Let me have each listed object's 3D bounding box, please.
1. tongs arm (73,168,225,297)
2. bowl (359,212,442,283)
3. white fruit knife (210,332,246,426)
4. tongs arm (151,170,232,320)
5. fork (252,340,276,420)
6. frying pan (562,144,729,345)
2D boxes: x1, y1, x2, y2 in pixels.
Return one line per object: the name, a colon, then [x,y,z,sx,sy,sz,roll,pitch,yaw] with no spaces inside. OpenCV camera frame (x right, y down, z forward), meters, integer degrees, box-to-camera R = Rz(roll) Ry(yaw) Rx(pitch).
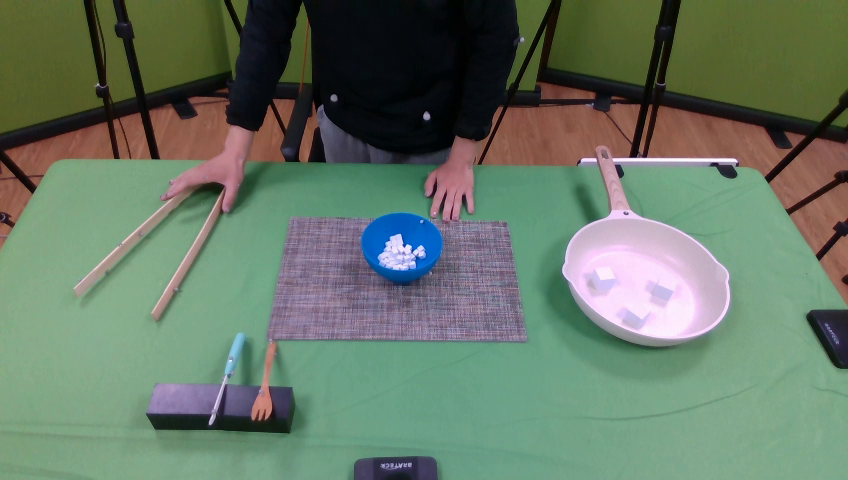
tongs arm: [-0.516,-0.026,1.173,0.050,0.026,0.383,17,46,12]
bowl: [-0.044,0.026,1.125,0.151,0.077,0.150,2,46,-2]
white fruit knife: [-0.301,0.206,0.930,0.016,0.027,0.206,5,29,-7]
tongs arm: [-0.438,-0.005,1.163,0.028,0.028,0.385,5,45,5]
fork: [-0.242,0.211,0.932,0.028,0.019,0.206,-7,27,-5]
frying pan: [0.396,-0.008,1.179,0.307,0.103,0.484,1,55,-4]
